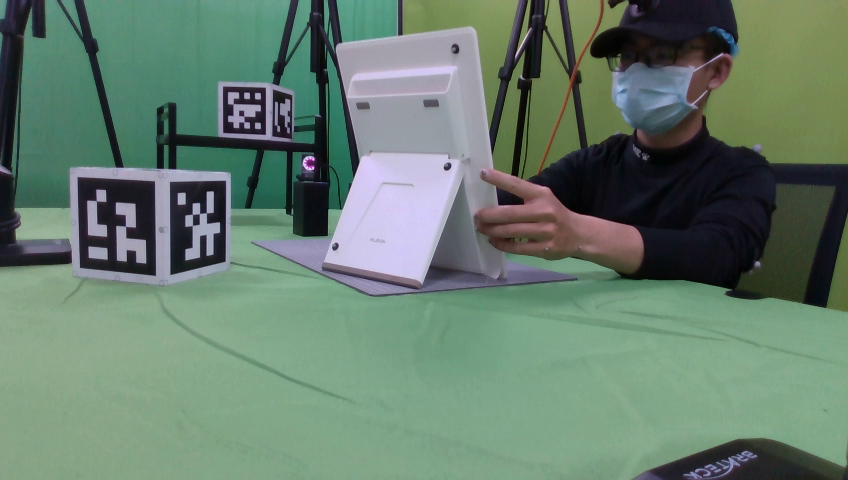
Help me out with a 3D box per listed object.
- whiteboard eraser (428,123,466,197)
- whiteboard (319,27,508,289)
[{"bbox_3d":[0.029,-0.099,0.759,0.041,0.101,0.019,24,44,18],"label":"whiteboard eraser"},{"bbox_3d":[-0.046,-0.076,0.721,0.216,0.305,0.144,9,29,38],"label":"whiteboard"}]
